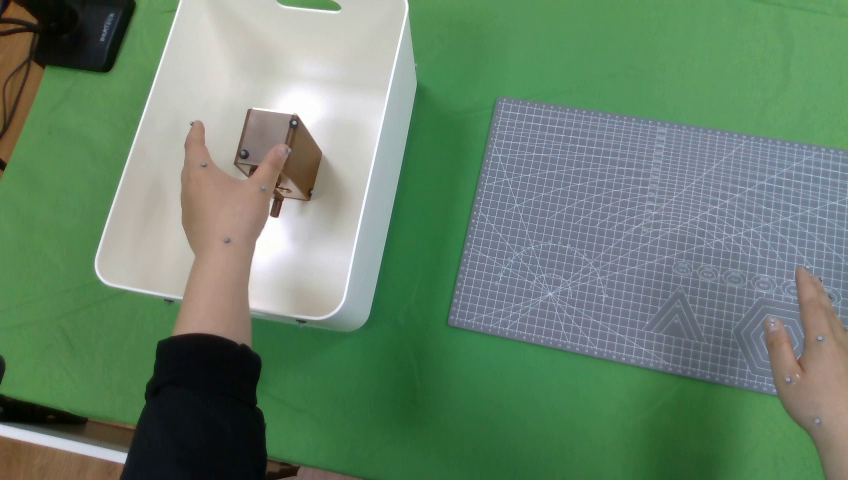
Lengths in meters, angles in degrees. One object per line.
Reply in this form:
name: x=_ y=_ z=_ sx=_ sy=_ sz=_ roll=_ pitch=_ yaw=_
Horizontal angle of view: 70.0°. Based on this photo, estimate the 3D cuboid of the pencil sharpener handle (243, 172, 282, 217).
pencil sharpener handle: x=-0.182 y=-0.050 z=0.687 sx=0.036 sy=0.068 sz=0.030 roll=6 pitch=76 yaw=17

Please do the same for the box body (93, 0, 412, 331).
box body: x=-0.166 y=-0.091 z=0.687 sx=0.254 sy=0.161 sz=0.362 roll=8 pitch=76 yaw=7

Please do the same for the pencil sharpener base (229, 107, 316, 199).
pencil sharpener base: x=-0.175 y=-0.096 z=0.711 sx=0.061 sy=0.107 sz=0.076 roll=9 pitch=77 yaw=7
